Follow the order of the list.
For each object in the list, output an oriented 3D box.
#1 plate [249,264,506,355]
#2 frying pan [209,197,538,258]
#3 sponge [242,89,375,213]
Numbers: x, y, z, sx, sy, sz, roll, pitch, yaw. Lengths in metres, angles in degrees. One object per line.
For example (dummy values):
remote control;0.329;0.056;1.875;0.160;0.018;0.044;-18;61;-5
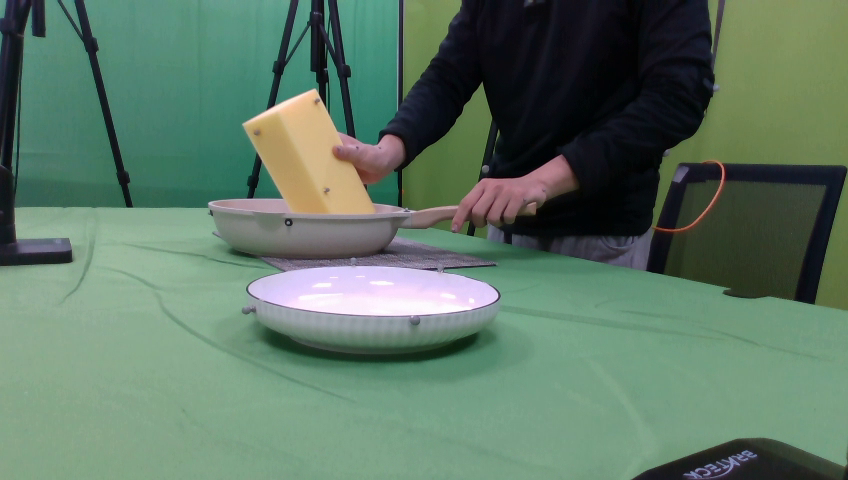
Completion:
plate;-0.037;0.056;0.504;0.208;0.039;0.207;2;7;0
frying pan;-0.075;-0.034;0.912;0.487;0.102;0.307;-5;7;12
sponge;-0.161;-0.101;0.878;0.060;0.207;0.118;-15;23;25
